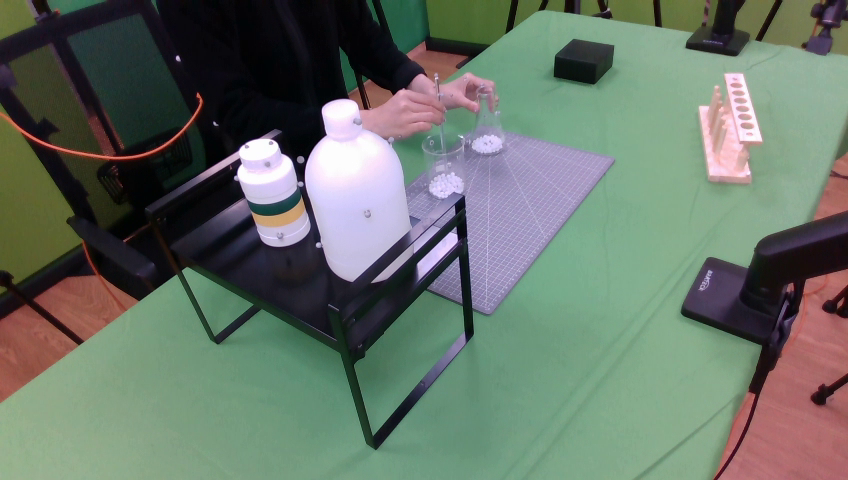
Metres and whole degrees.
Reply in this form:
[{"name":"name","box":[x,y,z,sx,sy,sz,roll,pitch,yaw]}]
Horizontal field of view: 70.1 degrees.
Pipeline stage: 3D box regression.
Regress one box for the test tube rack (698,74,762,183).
[{"name":"test tube rack","box":[0.547,-0.208,1.095,0.066,0.085,0.242,5,42,15]}]

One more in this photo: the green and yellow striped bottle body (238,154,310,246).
[{"name":"green and yellow striped bottle body","box":[-0.178,-0.056,0.714,0.063,0.120,0.063,-4,40,4]}]

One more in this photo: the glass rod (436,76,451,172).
[{"name":"glass rod","box":[0.035,-0.191,1.030,0.008,0.201,0.008,-5,47,5]}]

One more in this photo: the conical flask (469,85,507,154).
[{"name":"conical flask","box":[0.120,-0.231,1.148,0.075,0.122,0.075,-4,41,4]}]

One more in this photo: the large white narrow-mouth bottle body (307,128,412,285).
[{"name":"large white narrow-mouth bottle body","box":[-0.070,-0.051,0.638,0.102,0.195,0.101,-3,40,3]}]

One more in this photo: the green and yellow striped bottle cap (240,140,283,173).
[{"name":"green and yellow striped bottle cap","box":[-0.183,-0.094,0.679,0.045,0.020,0.045,-5,38,4]}]

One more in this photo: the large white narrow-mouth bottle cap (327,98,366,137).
[{"name":"large white narrow-mouth bottle cap","box":[-0.075,-0.118,0.582,0.038,0.024,0.037,-3,40,3]}]

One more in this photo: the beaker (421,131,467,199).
[{"name":"beaker","box":[0.040,-0.130,1.060,0.084,0.100,0.073,-24,43,-20]}]
